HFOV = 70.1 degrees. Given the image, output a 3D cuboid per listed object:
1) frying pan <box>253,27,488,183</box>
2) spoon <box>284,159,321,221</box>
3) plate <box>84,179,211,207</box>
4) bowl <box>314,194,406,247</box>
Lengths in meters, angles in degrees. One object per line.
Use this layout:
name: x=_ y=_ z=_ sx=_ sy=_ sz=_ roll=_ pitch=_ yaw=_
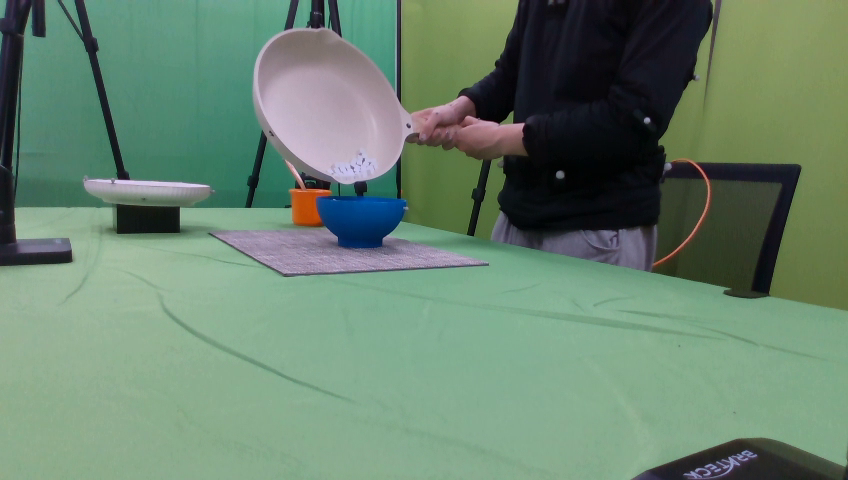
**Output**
frying pan: x=-0.081 y=-0.224 z=1.122 sx=0.491 sy=0.306 sz=0.102 roll=3 pitch=-20 yaw=-30
spoon: x=-0.269 y=-0.113 z=1.336 sx=0.042 sy=0.193 sz=0.021 roll=-3 pitch=-35 yaw=-43
plate: x=-0.495 y=-0.085 z=1.093 sx=0.208 sy=0.039 sz=0.207 roll=4 pitch=7 yaw=0
bowl: x=-0.105 y=-0.033 z=0.991 sx=0.151 sy=0.077 sz=0.151 roll=2 pitch=8 yaw=0
